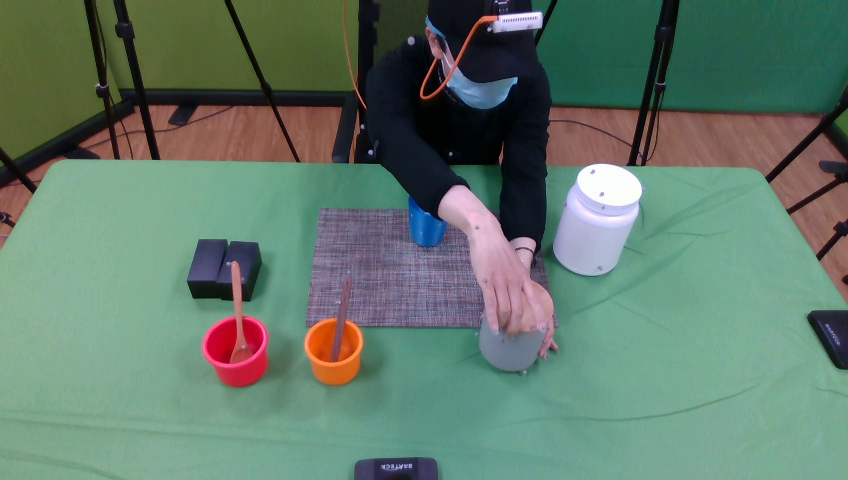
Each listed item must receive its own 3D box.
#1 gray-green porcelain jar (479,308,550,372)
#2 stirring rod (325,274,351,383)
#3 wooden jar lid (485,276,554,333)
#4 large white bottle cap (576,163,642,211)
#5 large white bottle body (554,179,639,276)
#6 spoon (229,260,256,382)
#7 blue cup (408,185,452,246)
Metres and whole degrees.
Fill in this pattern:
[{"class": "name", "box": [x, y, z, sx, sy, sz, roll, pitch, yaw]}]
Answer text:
[{"class": "gray-green porcelain jar", "box": [0.146, 0.147, 0.993, 0.106, 0.127, 0.105, 2, 46, -2]}, {"class": "stirring rod", "box": [-0.137, 0.142, 0.972, 0.014, 0.006, 0.176, 10, 89, -1]}, {"class": "wooden jar lid", "box": [0.149, 0.103, 0.950, 0.108, 0.021, 0.107, 1, 49, -1]}, {"class": "large white bottle cap", "box": [0.330, -0.096, 1.081, 0.115, 0.018, 0.114, 2, 46, -2]}, {"class": "large white bottle body", "box": [0.326, -0.037, 1.141, 0.131, 0.185, 0.130, 2, 46, -2]}, {"class": "spoon", "box": [-0.294, 0.129, 0.966, 0.042, 0.021, 0.193, -4, 91, -9]}, {"class": "blue cup", "box": [0.008, -0.042, 1.177, 0.093, 0.101, 0.092, 3, 48, -3]}]
